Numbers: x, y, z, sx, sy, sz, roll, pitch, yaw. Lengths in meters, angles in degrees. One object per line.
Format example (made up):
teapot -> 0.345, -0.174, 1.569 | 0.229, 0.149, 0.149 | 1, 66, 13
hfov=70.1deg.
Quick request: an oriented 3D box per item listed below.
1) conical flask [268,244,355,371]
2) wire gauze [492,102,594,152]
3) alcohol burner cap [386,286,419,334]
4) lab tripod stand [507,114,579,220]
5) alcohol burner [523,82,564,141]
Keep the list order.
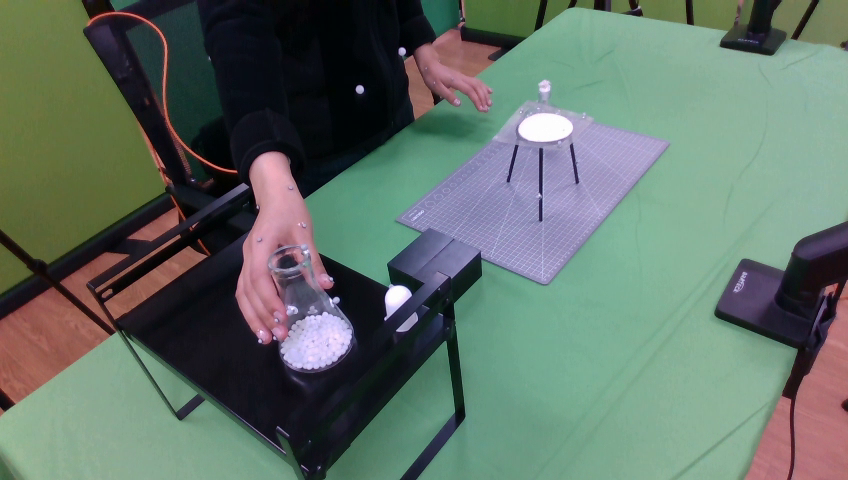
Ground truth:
conical flask -> -0.111, 0.060, 0.564 | 0.075, 0.122, 0.075 | -5, 41, 5
wire gauze -> 0.191, -0.180, 0.964 | 0.120, 0.011, 0.125 | 19, 48, 28
alcohol burner cap -> -0.024, 0.067, 0.604 | 0.034, 0.048, 0.033 | -5, 39, 4
lab tripod stand -> 0.199, -0.128, 1.005 | 0.148, 0.132, 0.147 | -3, 42, 3
alcohol burner -> 0.230, -0.251, 1.161 | 0.078, 0.119, 0.077 | -4, 43, 4
